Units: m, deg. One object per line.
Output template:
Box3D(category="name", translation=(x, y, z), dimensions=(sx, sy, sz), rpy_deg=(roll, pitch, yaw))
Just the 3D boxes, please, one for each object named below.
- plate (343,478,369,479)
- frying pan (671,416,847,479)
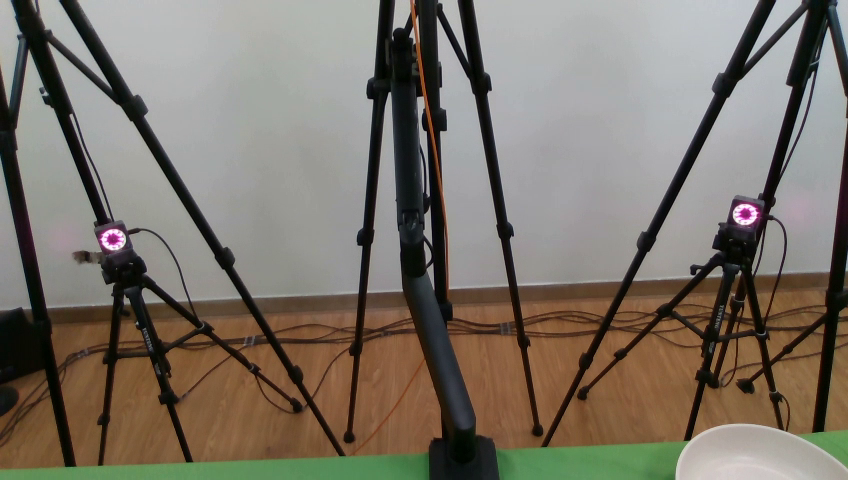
Box3D(category="plate", translation=(-0.118, 0.468, 0.933), dimensions=(0.207, 0.039, 0.205), rpy_deg=(-2, 34, 2))
Box3D(category="frying pan", translation=(0.527, 0.455, 0.850), dimensions=(0.306, 0.103, 0.484), rpy_deg=(0, 26, 6))
